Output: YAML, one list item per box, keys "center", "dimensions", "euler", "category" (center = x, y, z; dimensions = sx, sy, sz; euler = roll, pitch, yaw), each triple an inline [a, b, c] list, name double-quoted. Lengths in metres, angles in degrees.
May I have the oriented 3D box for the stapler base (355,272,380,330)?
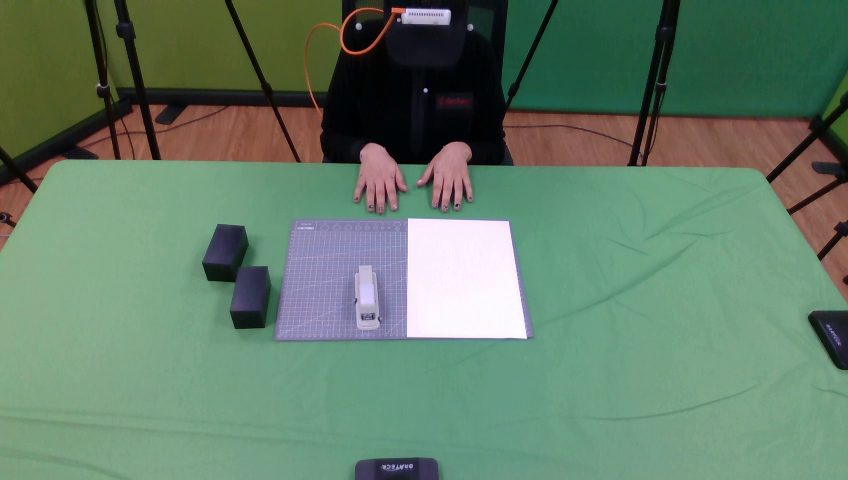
- center: [-0.103, 0.102, 1.087]
  dimensions: [0.041, 0.024, 0.129]
  euler: [-1, 45, -8]
  category: "stapler base"

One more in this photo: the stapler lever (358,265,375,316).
- center: [-0.102, 0.083, 1.070]
  dimensions: [0.027, 0.040, 0.117]
  euler: [-1, 44, -8]
  category: "stapler lever"
